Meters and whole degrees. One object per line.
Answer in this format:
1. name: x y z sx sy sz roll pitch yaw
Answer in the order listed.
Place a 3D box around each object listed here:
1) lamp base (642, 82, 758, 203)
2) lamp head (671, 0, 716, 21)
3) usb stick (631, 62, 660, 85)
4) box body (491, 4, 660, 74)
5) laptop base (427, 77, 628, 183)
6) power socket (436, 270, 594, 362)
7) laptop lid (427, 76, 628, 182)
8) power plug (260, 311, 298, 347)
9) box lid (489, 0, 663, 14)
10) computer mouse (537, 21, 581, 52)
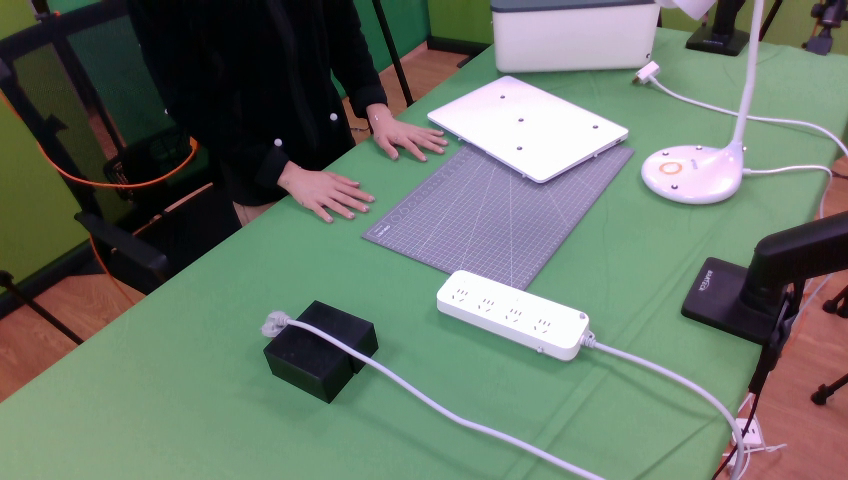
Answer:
1. lamp base: 0.464 -0.174 0.992 0.179 0.181 0.159 -5 41 -1
2. lamp head: 0.375 -0.373 0.807 0.122 0.113 0.112 -40 27 32
3. usb stick: 0.480 -0.358 1.317 0.059 0.022 0.027 -35 56 14
4. box body: 0.346 -0.520 1.429 0.363 0.161 0.253 0 41 9
5. laptop base: 0.199 -0.229 1.222 0.236 0.023 0.351 -31 45 -22
6. power socket: 0.118 0.101 0.832 0.225 0.033 0.072 19 48 27
7. laptop lid: 0.196 -0.237 1.213 0.242 0.013 0.353 -29 44 -21
8. power plug: -0.197 0.127 0.822 0.035 0.053 0.072 -17 23 -30
9. box lid: 0.340 -0.575 1.380 0.371 0.015 0.262 0 41 9
10. computer mouse: 0.335 -0.503 1.487 0.118 0.041 0.062 22 18 -28
